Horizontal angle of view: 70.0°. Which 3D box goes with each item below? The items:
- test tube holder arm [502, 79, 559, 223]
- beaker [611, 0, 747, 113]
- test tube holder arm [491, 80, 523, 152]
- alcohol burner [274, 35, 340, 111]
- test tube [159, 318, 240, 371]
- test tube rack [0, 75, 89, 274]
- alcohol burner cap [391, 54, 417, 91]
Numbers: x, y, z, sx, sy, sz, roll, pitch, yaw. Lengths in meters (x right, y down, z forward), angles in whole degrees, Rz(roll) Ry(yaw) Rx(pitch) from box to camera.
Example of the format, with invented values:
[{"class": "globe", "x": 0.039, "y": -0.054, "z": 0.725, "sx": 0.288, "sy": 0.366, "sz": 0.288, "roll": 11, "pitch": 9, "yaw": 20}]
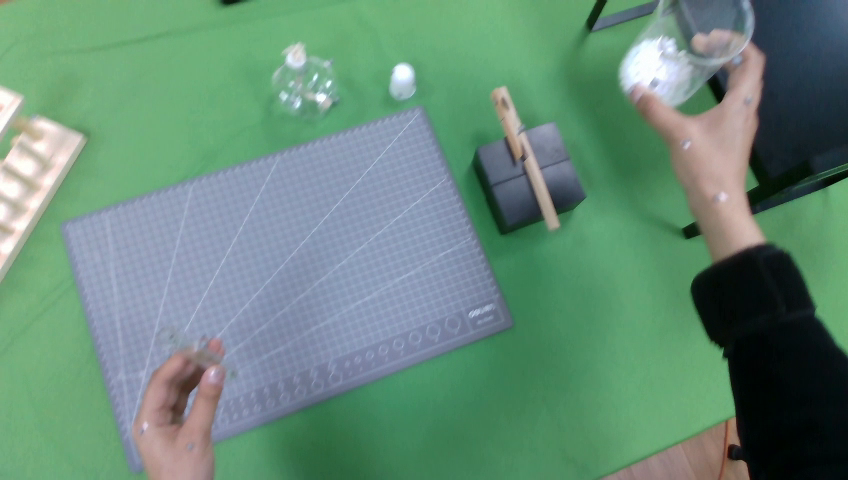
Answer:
[{"class": "test tube holder arm", "x": 0.119, "y": -0.103, "z": 0.694, "sx": 0.013, "sy": 0.015, "sz": 0.177, "roll": -17, "pitch": 80, "yaw": -18}, {"class": "beaker", "x": 0.203, "y": -0.154, "z": 0.503, "sx": 0.084, "sy": 0.100, "sz": 0.074, "roll": -42, "pitch": 83, "yaw": -10}, {"class": "test tube holder arm", "x": 0.099, "y": -0.143, "z": 0.700, "sx": 0.010, "sy": 0.015, "sz": 0.087, "roll": -17, "pitch": 80, "yaw": -18}, {"class": "alcohol burner", "x": -0.137, "y": -0.198, "z": 0.699, "sx": 0.078, "sy": 0.119, "sz": 0.077, "roll": 1, "pitch": 76, "yaw": -4}, {"class": "test tube", "x": -0.182, "y": 0.090, "z": 0.505, "sx": 0.017, "sy": 0.151, "sz": 0.017, "roll": 0, "pitch": 68, "yaw": 1}, {"class": "test tube rack", "x": -0.477, "y": -0.048, "z": 0.659, "sx": 0.067, "sy": 0.085, "sz": 0.241, "roll": 24, "pitch": 77, "yaw": 2}, {"class": "alcohol burner cap", "x": -0.024, "y": -0.208, "z": 0.745, "sx": 0.034, "sy": 0.048, "sz": 0.033, "roll": 1, "pitch": 77, "yaw": -3}]
